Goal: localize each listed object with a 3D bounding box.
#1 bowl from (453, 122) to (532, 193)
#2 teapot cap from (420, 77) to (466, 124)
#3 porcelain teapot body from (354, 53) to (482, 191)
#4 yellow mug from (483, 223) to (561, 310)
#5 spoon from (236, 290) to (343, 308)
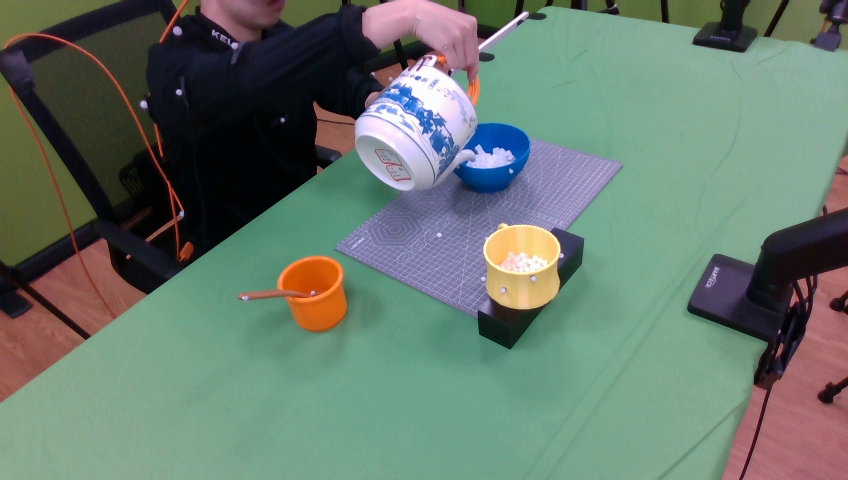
[{"bbox_3d":[0.113,-0.136,1.063,0.151,0.077,0.150,-4,41,4],"label":"bowl"},{"bbox_3d":[0.031,-0.217,0.932,0.084,0.085,0.044,21,59,30],"label":"teapot cap"},{"bbox_3d":[0.018,-0.171,0.936,0.144,0.207,0.225,18,60,39],"label":"porcelain teapot body"},{"bbox_3d":[0.125,0.025,0.811,0.100,0.064,0.130,-16,39,-10],"label":"yellow mug"},{"bbox_3d":[-0.176,0.076,0.808,0.041,0.195,0.021,22,93,30],"label":"spoon"}]
